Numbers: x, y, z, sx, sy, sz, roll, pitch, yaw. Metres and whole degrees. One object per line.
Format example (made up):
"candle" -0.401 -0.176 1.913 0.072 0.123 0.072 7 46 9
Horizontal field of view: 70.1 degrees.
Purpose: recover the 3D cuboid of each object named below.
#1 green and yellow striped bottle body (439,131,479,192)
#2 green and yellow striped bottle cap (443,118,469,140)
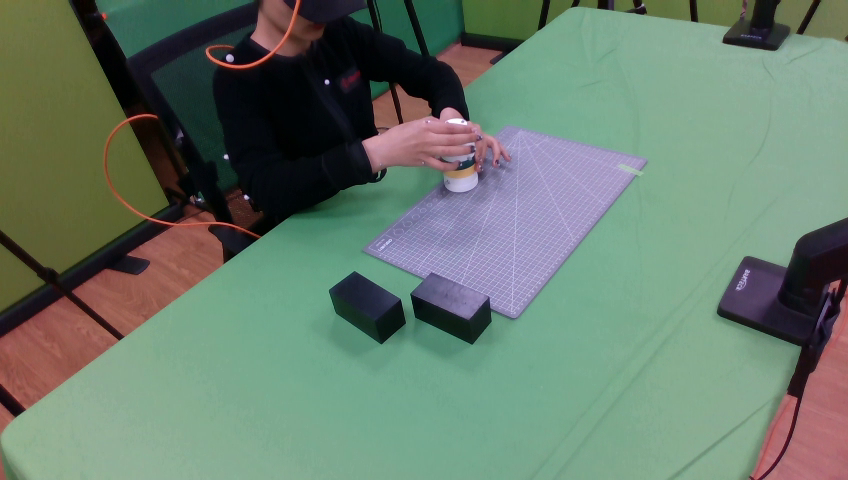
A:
"green and yellow striped bottle body" 0.061 -0.149 1.066 0.063 0.120 0.063 -5 40 5
"green and yellow striped bottle cap" 0.054 -0.190 1.031 0.045 0.020 0.045 -5 39 5
